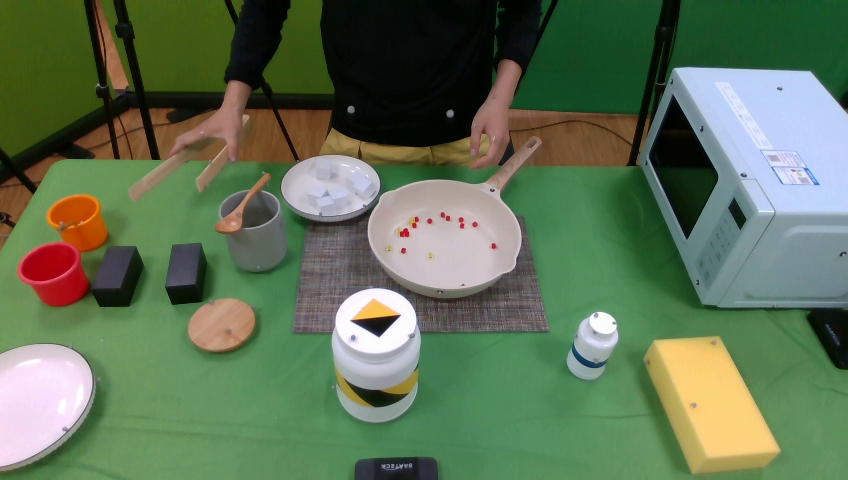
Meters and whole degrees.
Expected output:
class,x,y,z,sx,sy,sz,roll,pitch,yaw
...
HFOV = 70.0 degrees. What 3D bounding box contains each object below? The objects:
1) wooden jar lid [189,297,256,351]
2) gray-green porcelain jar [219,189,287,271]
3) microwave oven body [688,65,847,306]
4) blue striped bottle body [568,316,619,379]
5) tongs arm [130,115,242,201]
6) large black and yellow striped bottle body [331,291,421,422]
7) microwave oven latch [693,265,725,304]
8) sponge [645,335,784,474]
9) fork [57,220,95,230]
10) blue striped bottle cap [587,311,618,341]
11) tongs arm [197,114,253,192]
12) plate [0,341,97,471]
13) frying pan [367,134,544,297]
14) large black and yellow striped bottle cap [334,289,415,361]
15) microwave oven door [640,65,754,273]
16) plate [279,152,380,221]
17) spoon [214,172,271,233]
class,x,y,z,sx,sy,sz,roll,pitch,yaw
wooden jar lid,-0.342,0.145,1.033,0.108,0.021,0.107,2,45,-2
gray-green porcelain jar,-0.310,-0.014,1.114,0.106,0.127,0.105,2,46,-2
microwave oven body,0.669,-0.111,1.176,0.326,0.261,0.439,0,46,-3
blue striped bottle body,0.276,0.168,0.984,0.063,0.121,0.062,2,46,-2
tongs arm,-0.475,-0.177,1.236,0.028,0.028,0.386,-8,28,18
large black and yellow striped bottle body,-0.071,0.175,0.911,0.131,0.185,0.130,2,47,-2
microwave oven latch,0.523,0.081,1.116,0.030,0.029,0.078,2,46,-1
sponge,0.449,0.253,0.956,0.118,0.061,0.205,-4,46,-7
fork,-0.624,-0.027,1.086,0.028,0.207,0.018,-2,91,-17
blue striped bottle cap,0.279,0.134,0.946,0.044,0.021,0.044,2,45,-2
tongs arm,-0.405,-0.186,1.224,0.051,0.026,0.383,-10,29,8
plate,-0.599,0.247,0.904,0.209,0.038,0.208,2,47,-2
frying pan,0.104,-0.069,1.205,0.305,0.103,0.487,32,61,23
large black and yellow striped bottle cap,-0.069,0.117,0.850,0.115,0.019,0.114,2,45,-2
microwave oven door,0.523,-0.147,1.193,0.039,0.245,0.353,0,47,-3
plate,-0.196,-0.107,1.269,0.208,0.039,0.206,2,45,-2
spoon,-0.312,-0.070,1.070,0.041,0.022,0.193,10,43,10
